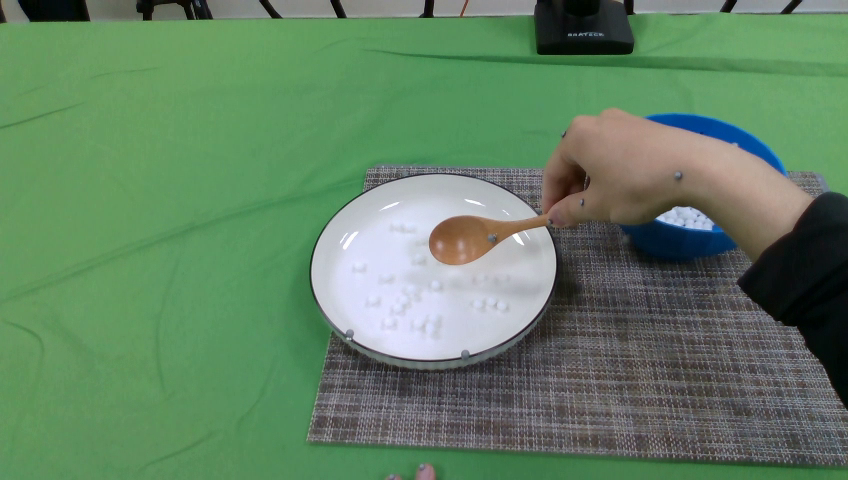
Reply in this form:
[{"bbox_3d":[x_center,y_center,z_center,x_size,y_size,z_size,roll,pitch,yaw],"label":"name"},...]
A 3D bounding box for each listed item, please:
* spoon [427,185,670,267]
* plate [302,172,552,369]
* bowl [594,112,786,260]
[{"bbox_3d":[0.087,-0.013,0.464,0.193,0.022,0.041,-14,76,33],"label":"spoon"},{"bbox_3d":[0.003,0.024,0.519,0.207,0.039,0.205,-2,48,2],"label":"plate"},{"bbox_3d":[0.220,-0.036,0.530,0.151,0.077,0.150,-1,48,2],"label":"bowl"}]
